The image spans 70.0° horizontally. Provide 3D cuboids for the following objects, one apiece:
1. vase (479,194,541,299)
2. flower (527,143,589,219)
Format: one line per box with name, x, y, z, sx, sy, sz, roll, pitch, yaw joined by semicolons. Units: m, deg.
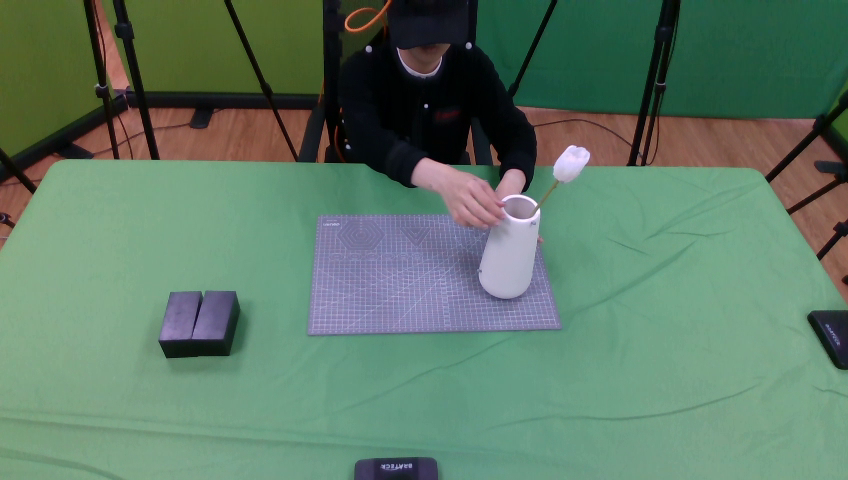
vase;0.152;0.015;1.066;0.098;0.201;0.097;1;47;-1
flower;0.170;-0.033;1.000;0.044;0.363;0.038;-22;68;-28
